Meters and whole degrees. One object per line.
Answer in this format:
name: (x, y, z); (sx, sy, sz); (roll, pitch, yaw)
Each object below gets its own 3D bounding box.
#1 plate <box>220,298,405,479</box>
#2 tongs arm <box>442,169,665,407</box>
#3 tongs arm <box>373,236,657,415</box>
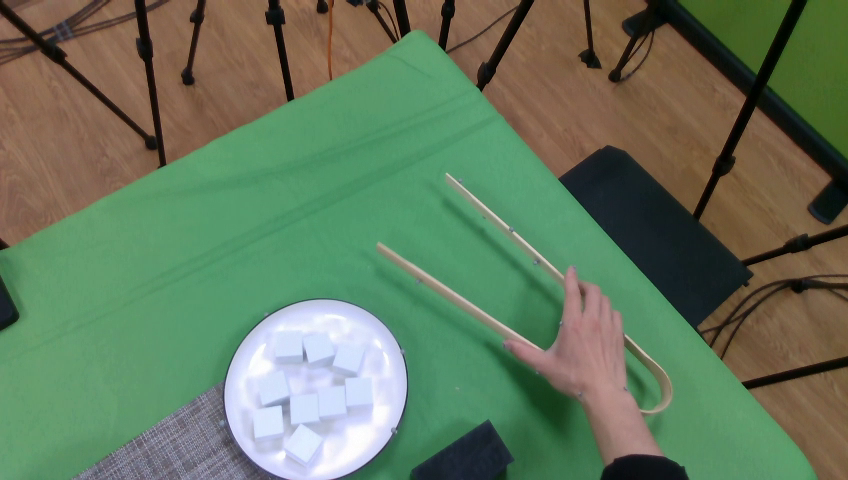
plate: (-0.126, 0.171, 0.702); (0.208, 0.039, 0.206); (2, 66, -4)
tongs arm: (0.147, 0.052, 0.751); (0.383, 0.027, 0.050); (43, 69, 13)
tongs arm: (0.098, 0.101, 0.727); (0.386, 0.028, 0.028); (32, 64, 9)
